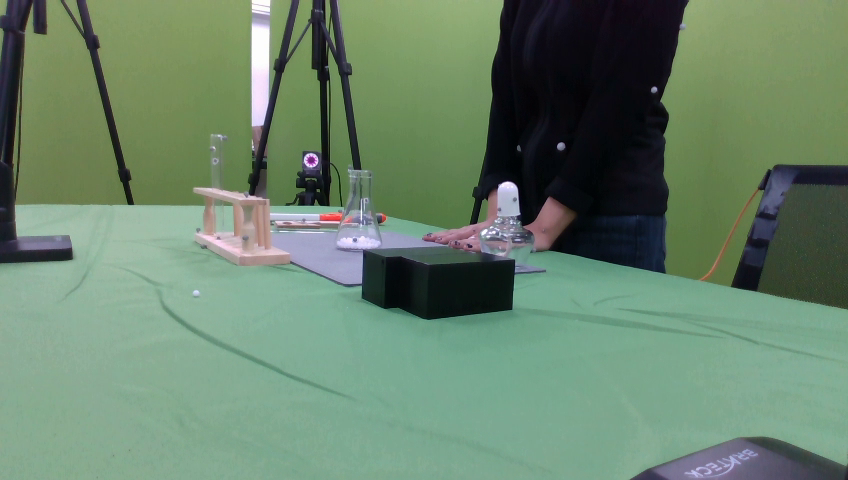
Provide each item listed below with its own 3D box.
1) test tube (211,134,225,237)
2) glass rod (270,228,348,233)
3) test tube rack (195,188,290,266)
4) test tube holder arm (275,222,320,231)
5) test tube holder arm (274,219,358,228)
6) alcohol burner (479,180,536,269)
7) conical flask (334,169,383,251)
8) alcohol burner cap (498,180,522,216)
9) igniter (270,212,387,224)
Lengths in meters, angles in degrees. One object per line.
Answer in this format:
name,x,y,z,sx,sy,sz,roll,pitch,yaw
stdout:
test tube,-0.300,-0.078,0.881,0.017,0.150,0.017,3,12,0
glass rod,-0.234,-0.017,1.105,0.201,0.008,0.008,1,7,-26
test tube rack,-0.266,-0.025,0.864,0.067,0.085,0.241,-2,9,-33
test tube holder arm,-0.238,-0.026,1.145,0.088,0.015,0.010,-3,45,-39
test tube holder arm,-0.206,-0.032,1.177,0.179,0.015,0.013,-4,46,-40
alcohol burner,0.114,-0.021,0.816,0.078,0.119,0.078,2,9,0
conical flask,-0.098,-0.047,0.920,0.075,0.122,0.075,3,7,0
alcohol burner cap,0.114,-0.056,0.810,0.034,0.048,0.034,-5,12,1
igniter,-0.213,-0.047,1.278,0.278,0.025,0.057,-1,-2,-25
